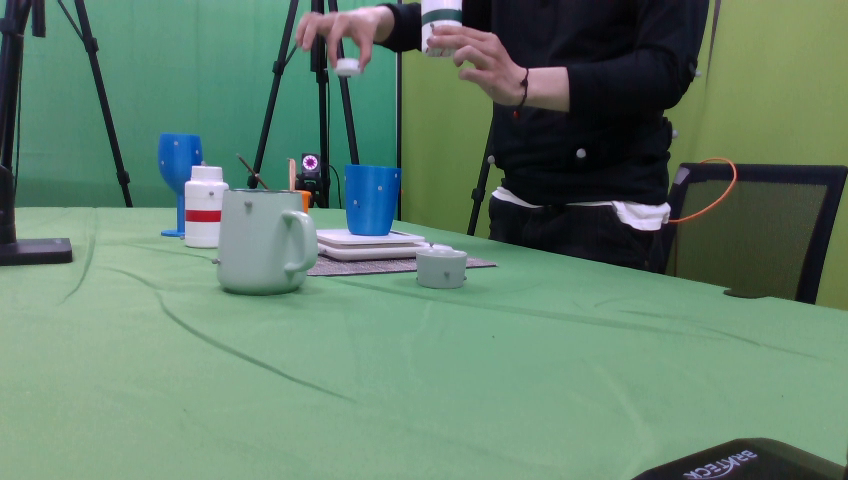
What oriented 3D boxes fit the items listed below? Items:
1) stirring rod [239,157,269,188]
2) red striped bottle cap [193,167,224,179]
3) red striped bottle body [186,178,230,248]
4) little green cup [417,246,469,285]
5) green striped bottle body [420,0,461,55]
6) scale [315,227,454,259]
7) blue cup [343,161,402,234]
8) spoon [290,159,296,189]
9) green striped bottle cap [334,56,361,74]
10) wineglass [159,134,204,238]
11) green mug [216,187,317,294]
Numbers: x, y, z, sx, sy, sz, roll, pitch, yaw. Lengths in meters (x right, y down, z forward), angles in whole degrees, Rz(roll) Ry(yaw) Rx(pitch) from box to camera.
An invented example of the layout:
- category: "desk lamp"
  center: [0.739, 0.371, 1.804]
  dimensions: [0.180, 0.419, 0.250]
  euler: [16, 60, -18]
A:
- category: "stirring rod"
  center: [-0.309, -0.098, 1.209]
  dimensions: [0.006, 0.177, 0.014]
  euler: [-39, 29, -4]
- category: "red striped bottle cap"
  center: [-0.329, -0.103, 0.921]
  dimensions: [0.044, 0.017, 0.044]
  euler: [-1, 9, 0]
- category: "red striped bottle body"
  center: [-0.331, -0.050, 0.927]
  dimensions: [0.063, 0.119, 0.063]
  euler: [2, 6, 0]
- category: "little green cup"
  center: [0.021, 0.029, 0.701]
  dimensions: [0.061, 0.038, 0.061]
  euler: [1, 6, 0]
- category: "green striped bottle body"
  center: [0.025, -0.350, 0.921]
  dimensions: [0.063, 0.119, 0.063]
  euler: [-2, 2, 0]
- category: "scale"
  center: [-0.066, 0.001, 0.906]
  dimensions: [0.202, 0.031, 0.148]
  euler: [-2, 8, -31]
- category: "blue cup"
  center: [-0.078, -0.062, 0.884]
  dimensions: [0.093, 0.100, 0.092]
  euler: [4, 6, 0]
- category: "spoon"
  center: [-0.273, -0.102, 1.252]
  dimensions: [0.042, 0.193, 0.021]
  euler: [7, -38, -16]
- category: "green striped bottle cap"
  center: [-0.130, -0.295, 1.022]
  dimensions: [0.044, 0.020, 0.044]
  euler: [-12, 6, 2]
- category: "wineglass"
  center: [-0.416, -0.093, 1.040]
  dimensions: [0.074, 0.172, 0.073]
  euler: [2, 7, 0]
- category: "green mug"
  center: [-0.157, 0.000, 0.629]
  dimensions: [0.124, 0.105, 0.093]
  euler: [7, 9, 37]
